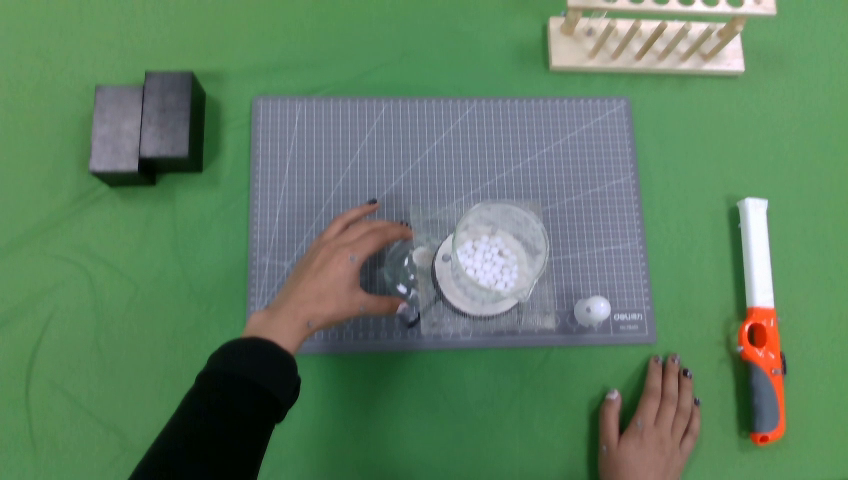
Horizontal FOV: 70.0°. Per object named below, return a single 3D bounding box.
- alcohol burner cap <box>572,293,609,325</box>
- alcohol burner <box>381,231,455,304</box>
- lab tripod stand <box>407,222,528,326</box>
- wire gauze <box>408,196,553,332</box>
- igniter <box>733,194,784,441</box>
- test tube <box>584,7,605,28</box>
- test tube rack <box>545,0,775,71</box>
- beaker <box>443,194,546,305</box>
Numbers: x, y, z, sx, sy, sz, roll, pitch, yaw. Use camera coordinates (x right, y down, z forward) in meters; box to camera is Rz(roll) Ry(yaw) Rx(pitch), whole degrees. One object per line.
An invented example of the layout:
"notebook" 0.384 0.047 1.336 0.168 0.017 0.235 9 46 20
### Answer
"alcohol burner cap" 0.184 0.074 0.661 0.034 0.048 0.033 1 77 -2
"alcohol burner" -0.005 0.024 0.620 0.078 0.119 0.077 1 75 -4
"lab tripod stand" 0.044 0.037 0.611 0.148 0.132 0.147 1 77 -2
"wire gauze" 0.051 0.020 0.548 0.125 0.011 0.121 -3 76 -2
"igniter" 0.375 0.083 0.683 0.057 0.025 0.275 5 78 -13
"test tube" 0.206 -0.284 0.668 0.017 0.151 0.017 1 73 -4
"test tube rack" 0.275 -0.253 0.717 0.243 0.085 0.066 0 78 -4
"beaker" 0.055 0.016 0.499 0.074 0.100 0.083 -24 79 -8
